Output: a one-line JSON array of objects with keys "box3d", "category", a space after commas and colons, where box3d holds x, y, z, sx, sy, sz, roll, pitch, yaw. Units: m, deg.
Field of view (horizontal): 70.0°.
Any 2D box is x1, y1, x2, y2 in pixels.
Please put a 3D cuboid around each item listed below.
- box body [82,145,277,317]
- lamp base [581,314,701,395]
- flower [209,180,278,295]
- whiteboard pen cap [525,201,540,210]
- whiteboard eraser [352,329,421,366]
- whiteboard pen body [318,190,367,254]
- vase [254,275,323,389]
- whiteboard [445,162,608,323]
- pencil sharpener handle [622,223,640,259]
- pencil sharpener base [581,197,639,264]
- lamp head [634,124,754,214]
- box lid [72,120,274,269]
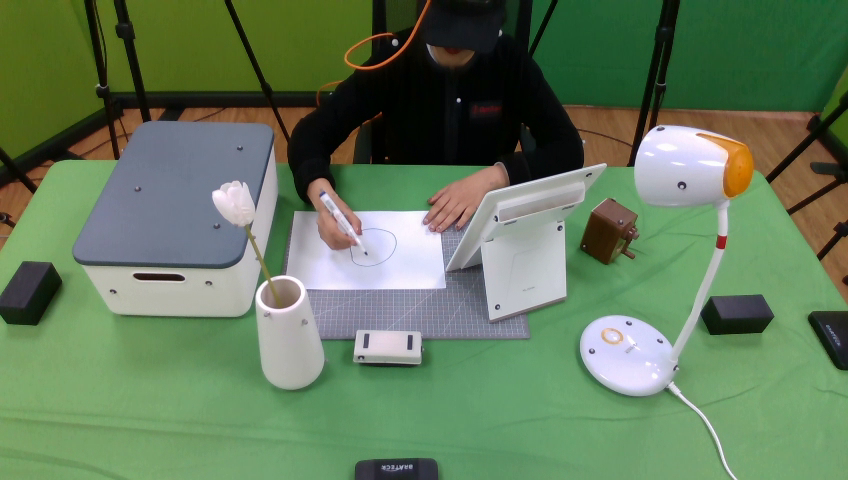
[{"box3d": [-0.422, -0.041, 1.108, 0.254, 0.161, 0.361, 2, 46, -3], "category": "box body"}, {"box3d": [0.361, 0.144, 0.973, 0.178, 0.181, 0.160, 34, 53, 23], "category": "lamp base"}, {"box3d": [-0.216, 0.075, 0.871, 0.044, 0.363, 0.038, -29, 36, -19], "category": "flower"}, {"box3d": [0.230, -0.074, 1.289, 0.033, 0.018, 0.018, 5, 46, 4], "category": "whiteboard pen cap"}, {"box3d": [-0.061, 0.180, 1.005, 0.113, 0.042, 0.055, 3, 48, -3], "category": "whiteboard eraser"}, {"box3d": [-0.146, -0.031, 1.101, 0.017, 0.017, 0.141, -41, 97, -34], "category": "whiteboard pen body"}, {"box3d": [-0.209, 0.143, 0.921, 0.098, 0.201, 0.097, 1, 46, -1], "category": "vase"}, {"box3d": [0.186, 0.025, 1.029, 0.217, 0.306, 0.143, -14, 68, -17], "category": "whiteboard"}, {"box3d": [0.397, 0.003, 1.146, 0.030, 0.068, 0.036, 37, 46, 27], "category": "pencil sharpener handle"}, {"box3d": [0.362, -0.017, 1.179, 0.076, 0.107, 0.061, 37, 54, 27], "category": "pencil sharpener base"}, {"box3d": [0.351, -0.089, 0.776, 0.112, 0.113, 0.122, -30, 30, -28], "category": "lamp head"}, {"box3d": [-0.417, -0.094, 1.056, 0.263, 0.015, 0.369, 1, 47, -3], "category": "box lid"}]
